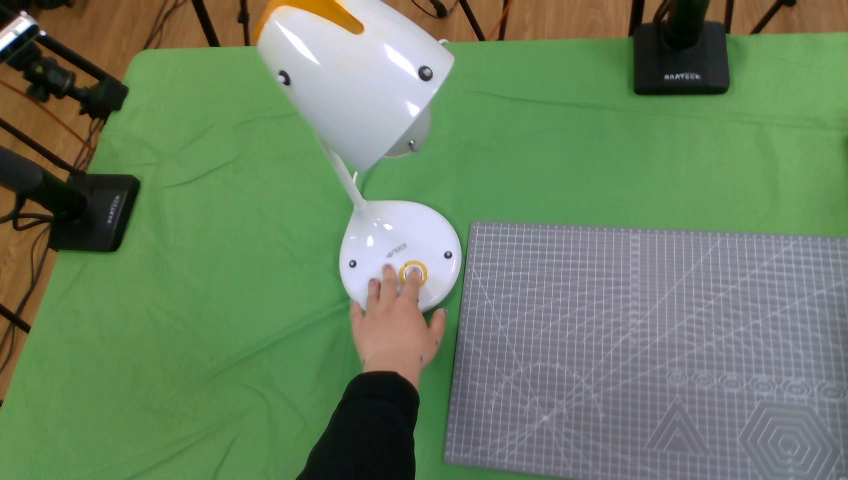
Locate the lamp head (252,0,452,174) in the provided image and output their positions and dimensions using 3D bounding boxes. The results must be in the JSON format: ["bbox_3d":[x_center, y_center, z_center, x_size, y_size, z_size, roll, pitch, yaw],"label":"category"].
[{"bbox_3d":[-0.060,-0.125,0.437,0.123,0.112,0.112,37,75,-12],"label":"lamp head"}]

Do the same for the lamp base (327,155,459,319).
[{"bbox_3d":[-0.057,-0.014,0.715,0.160,0.182,0.177,-43,63,-9],"label":"lamp base"}]
